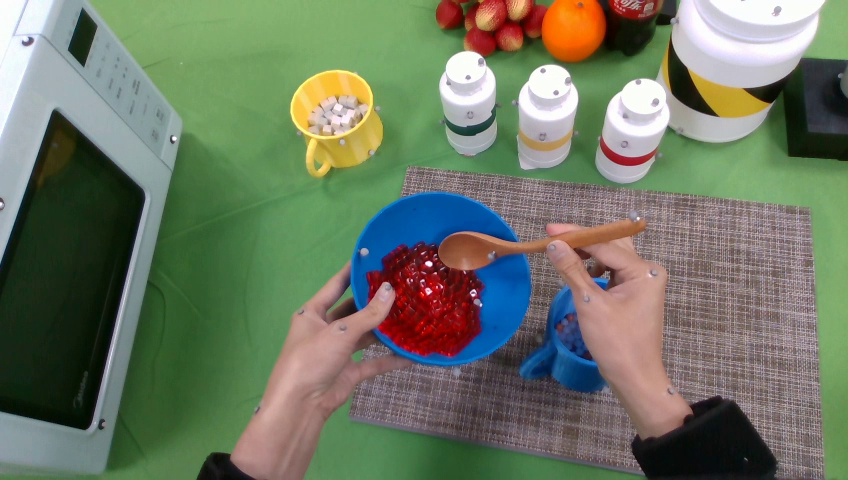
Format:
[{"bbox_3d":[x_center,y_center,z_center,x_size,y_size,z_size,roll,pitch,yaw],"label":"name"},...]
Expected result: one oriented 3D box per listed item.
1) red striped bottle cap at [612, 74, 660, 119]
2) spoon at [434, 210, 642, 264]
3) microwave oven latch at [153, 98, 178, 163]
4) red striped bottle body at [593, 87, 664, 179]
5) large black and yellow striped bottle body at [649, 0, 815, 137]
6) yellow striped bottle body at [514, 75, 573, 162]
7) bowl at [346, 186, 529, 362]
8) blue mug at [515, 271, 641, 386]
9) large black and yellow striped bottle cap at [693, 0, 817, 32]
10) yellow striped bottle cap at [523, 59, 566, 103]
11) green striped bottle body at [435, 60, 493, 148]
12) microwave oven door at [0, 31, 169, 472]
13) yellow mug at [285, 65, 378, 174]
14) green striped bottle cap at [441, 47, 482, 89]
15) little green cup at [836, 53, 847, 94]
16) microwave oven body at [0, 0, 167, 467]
[{"bbox_3d":[0.212,-0.144,0.606,0.044,0.018,0.044,-1,65,2],"label":"red striped bottle cap"},{"bbox_3d":[0.078,-0.001,0.468,0.192,0.042,0.021,-6,37,50],"label":"spoon"},{"bbox_3d":[-0.329,-0.135,0.752,0.030,0.030,0.078,0,67,7],"label":"microwave oven latch"},{"bbox_3d":[0.220,-0.122,0.653,0.063,0.121,0.062,-4,64,8],"label":"red striped bottle body"},{"bbox_3d":[0.323,-0.212,0.645,0.130,0.185,0.129,-3,66,6],"label":"large black and yellow striped bottle body"},{"bbox_3d":[0.132,-0.144,0.674,0.063,0.121,0.062,-3,65,7],"label":"yellow striped bottle body"},{"bbox_3d":[0.007,0.037,0.522,0.152,0.077,0.150,4,68,-9],"label":"bowl"},{"bbox_3d":[0.138,0.094,0.572,0.116,0.107,0.081,-27,65,-5],"label":"blue mug"},{"bbox_3d":[0.311,-0.245,0.568,0.115,0.019,0.114,-3,65,6],"label":"large black and yellow striped bottle cap"},{"bbox_3d":[0.125,-0.165,0.627,0.044,0.019,0.044,-2,68,6],"label":"yellow striped bottle cap"},{"bbox_3d":[0.047,-0.163,0.693,0.063,0.120,0.062,-3,66,6],"label":"green striped bottle body"},{"bbox_3d":[-0.349,0.024,0.573,0.039,0.246,0.353,-2,66,7],"label":"microwave oven door"},{"bbox_3d":[-0.116,-0.139,0.733,0.099,0.064,0.130,17,70,14],"label":"yellow mug"},{"bbox_3d":[0.040,-0.184,0.646,0.044,0.020,0.044,-3,64,6],"label":"green striped bottle cap"},{"bbox_3d":[0.470,-0.179,0.636,0.061,0.039,0.061,-2,64,4],"label":"little green cup"},{"bbox_3d":[-0.492,-0.009,0.611,0.326,0.262,0.438,-1,67,6],"label":"microwave oven body"}]
